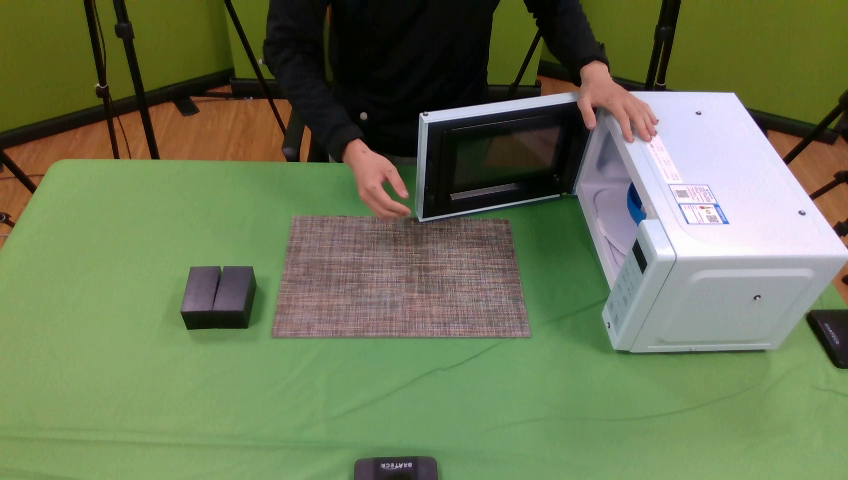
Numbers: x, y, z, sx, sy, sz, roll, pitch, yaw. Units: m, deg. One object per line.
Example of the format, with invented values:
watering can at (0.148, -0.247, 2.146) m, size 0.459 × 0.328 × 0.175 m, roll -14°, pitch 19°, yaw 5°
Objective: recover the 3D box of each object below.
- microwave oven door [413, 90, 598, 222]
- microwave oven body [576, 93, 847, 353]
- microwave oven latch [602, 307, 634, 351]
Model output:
microwave oven door at (0.157, -0.164, 1.198) m, size 0.356 × 0.245 × 0.039 m, roll -11°, pitch 48°, yaw -15°
microwave oven body at (0.475, -0.041, 1.109) m, size 0.326 × 0.261 × 0.438 m, roll -1°, pitch 45°, yaw -4°
microwave oven latch at (0.332, 0.153, 1.044) m, size 0.030 × 0.029 × 0.078 m, roll 0°, pitch 45°, yaw -3°
